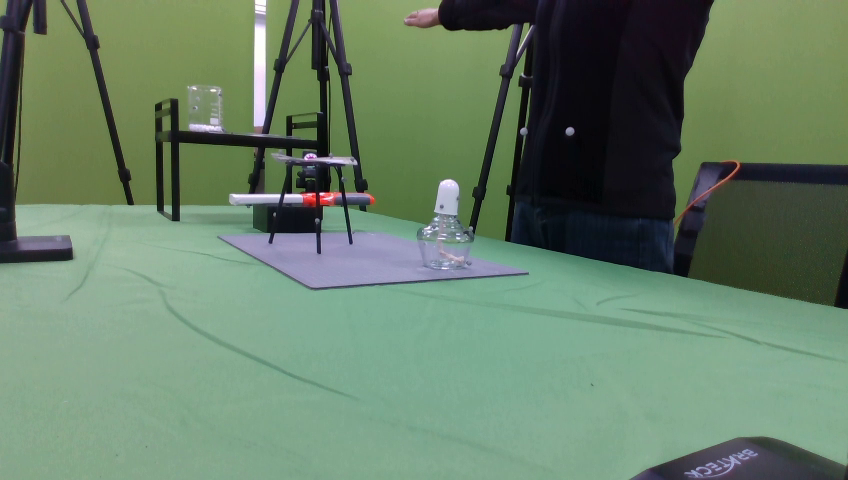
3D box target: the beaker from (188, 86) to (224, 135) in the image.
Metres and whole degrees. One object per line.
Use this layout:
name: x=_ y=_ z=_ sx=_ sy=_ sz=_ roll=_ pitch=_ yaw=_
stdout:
beaker: x=-0.474 y=-0.280 z=1.311 sx=0.074 sy=0.100 sz=0.084 roll=5 pitch=8 yaw=26

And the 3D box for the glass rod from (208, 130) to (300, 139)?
glass rod: x=-0.367 y=-0.231 z=1.321 sx=0.201 sy=0.008 sz=0.008 roll=-1 pitch=8 yaw=-30

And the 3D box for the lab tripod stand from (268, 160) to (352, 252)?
lab tripod stand: x=-0.171 y=-0.055 z=0.921 sx=0.148 sy=0.131 sz=0.148 roll=1 pitch=8 yaw=0

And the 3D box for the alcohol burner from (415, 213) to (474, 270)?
alcohol burner: x=0.028 y=-0.020 z=0.798 sx=0.078 sy=0.119 sz=0.078 roll=3 pitch=5 yaw=0

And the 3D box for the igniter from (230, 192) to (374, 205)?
igniter: x=-0.228 y=-0.079 z=1.164 sx=0.278 sy=0.025 sz=0.057 roll=-2 pitch=14 yaw=-30

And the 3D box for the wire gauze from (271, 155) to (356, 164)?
wire gauze: x=-0.167 y=-0.122 z=0.917 sx=0.125 sy=0.011 sz=0.121 roll=0 pitch=7 yaw=-9

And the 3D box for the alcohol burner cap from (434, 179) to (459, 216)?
alcohol burner cap: x=0.031 y=-0.055 z=0.792 sx=0.034 sy=0.048 sz=0.034 roll=6 pitch=9 yaw=-1
